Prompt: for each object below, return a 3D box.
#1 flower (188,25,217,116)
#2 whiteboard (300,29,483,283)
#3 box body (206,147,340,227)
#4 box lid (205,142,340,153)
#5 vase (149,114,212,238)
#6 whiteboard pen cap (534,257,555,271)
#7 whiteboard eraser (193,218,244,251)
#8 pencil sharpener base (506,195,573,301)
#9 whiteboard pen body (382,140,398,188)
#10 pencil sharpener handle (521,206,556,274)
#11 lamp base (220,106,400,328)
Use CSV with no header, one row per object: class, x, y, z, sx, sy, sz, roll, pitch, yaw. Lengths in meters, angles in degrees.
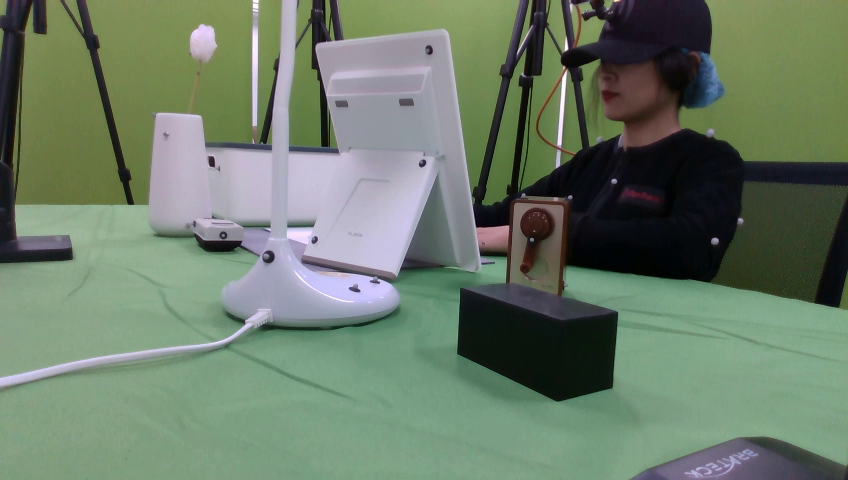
flower,-0.394,-0.189,1.011,0.044,0.361,0.038,-1,-13,27
whiteboard,-0.074,-0.082,0.742,0.216,0.305,0.144,9,29,38
box body,-0.276,-0.122,1.320,0.366,0.160,0.253,-2,9,-30
box lid,-0.270,-0.196,1.311,0.373,0.015,0.262,-2,9,-30
vase,-0.405,-0.106,1.005,0.098,0.200,0.098,2,6,0
whiteboard pen cap,0.167,0.033,0.839,0.018,0.018,0.033,-1,6,-23
whiteboard eraser,-0.307,-0.009,0.900,0.056,0.042,0.112,-4,11,-28
pencil sharpener base,0.127,0.007,0.663,0.061,0.107,0.077,5,8,15
whiteboard pen body,-0.066,-0.146,1.159,0.017,0.017,0.140,3,46,7
pencil sharpener handle,0.112,0.000,0.613,0.036,0.067,0.031,13,10,14
lamp base,-0.101,-0.023,0.531,0.160,0.180,0.179,4,10,10
